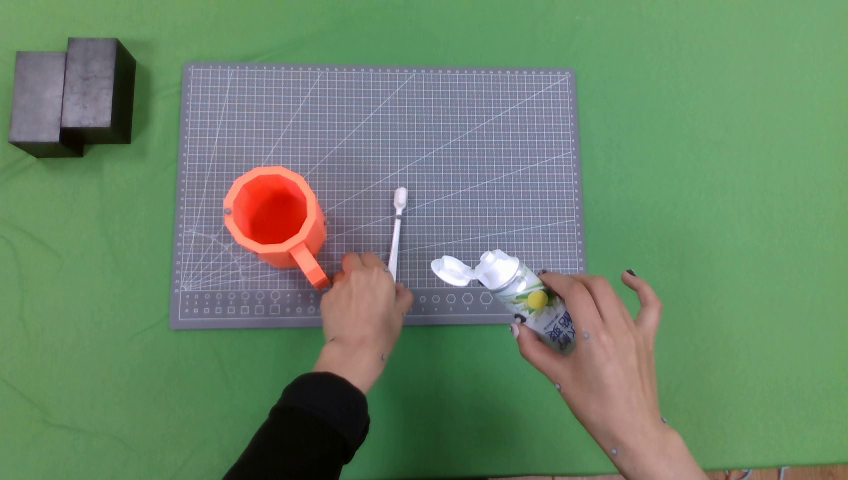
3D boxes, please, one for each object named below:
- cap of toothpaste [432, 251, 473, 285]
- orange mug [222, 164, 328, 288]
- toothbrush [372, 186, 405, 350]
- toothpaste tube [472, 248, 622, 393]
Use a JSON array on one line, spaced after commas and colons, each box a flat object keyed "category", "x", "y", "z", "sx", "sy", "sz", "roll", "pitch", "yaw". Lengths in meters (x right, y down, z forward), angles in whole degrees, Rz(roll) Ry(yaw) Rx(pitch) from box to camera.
[{"category": "cap of toothpaste", "x": 0.024, "y": 0.021, "z": 0.489, "sx": 0.037, "sy": 0.037, "sz": 0.011, "roll": 29, "pitch": 119, "yaw": 1}, {"category": "orange mug", "x": -0.140, "y": -0.008, "z": 0.613, "sx": 0.083, "sy": 0.101, "sz": 0.125, "roll": -34, "pitch": 79, "yaw": -9}, {"category": "toothbrush", "x": -0.038, "y": 0.027, "z": 0.652, "sx": 0.014, "sy": 0.016, "sz": 0.181, "roll": 11, "pitch": 78, "yaw": -17}, {"category": "toothpaste tube", "x": 0.101, "y": 0.065, "z": 0.509, "sx": 0.166, "sy": 0.034, "sz": 0.055, "roll": 42, "pitch": 92, "yaw": -19}]
